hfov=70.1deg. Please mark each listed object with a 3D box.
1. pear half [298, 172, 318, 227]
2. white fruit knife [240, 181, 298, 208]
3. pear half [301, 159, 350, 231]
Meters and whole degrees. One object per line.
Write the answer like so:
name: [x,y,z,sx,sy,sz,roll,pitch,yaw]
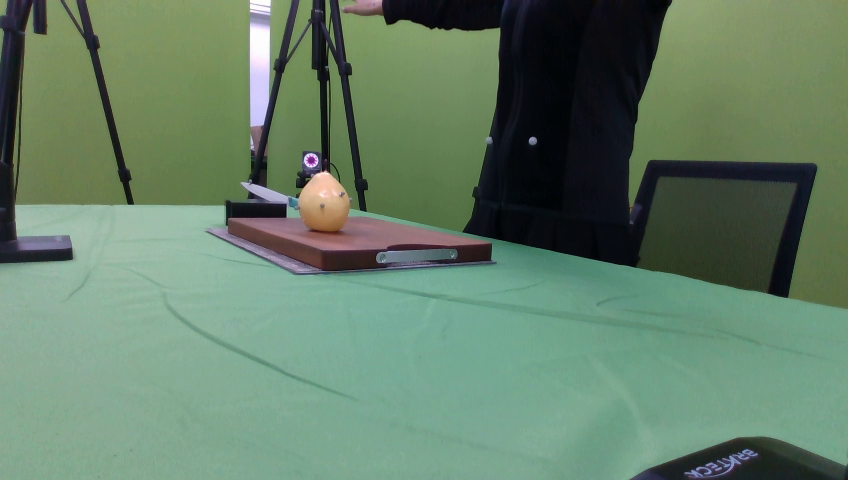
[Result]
pear half: [-0.172,-0.062,0.938,0.031,0.088,0.071,8,14,34]
white fruit knife: [-0.269,-0.077,1.213,0.208,0.027,0.016,22,5,-28]
pear half: [-0.143,-0.068,0.917,0.055,0.110,0.077,8,12,34]
